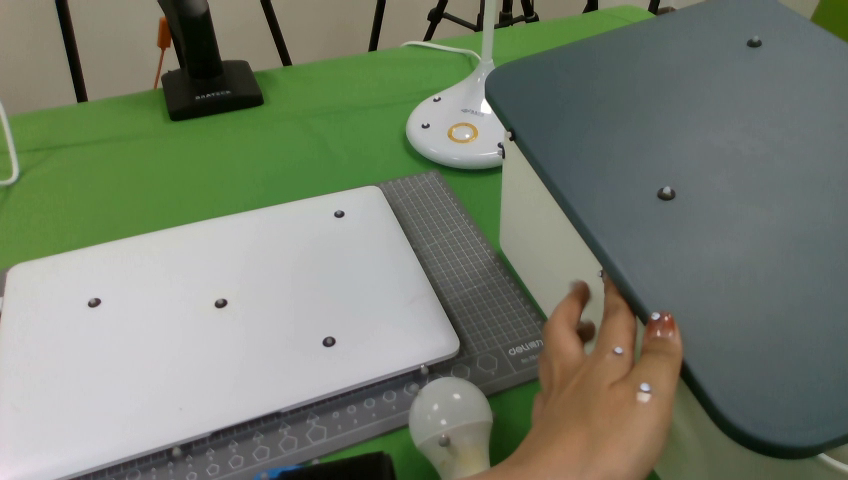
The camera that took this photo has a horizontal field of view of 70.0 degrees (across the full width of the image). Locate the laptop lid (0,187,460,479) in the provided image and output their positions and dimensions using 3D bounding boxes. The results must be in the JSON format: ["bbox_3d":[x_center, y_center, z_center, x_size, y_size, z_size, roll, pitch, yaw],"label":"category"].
[{"bbox_3d":[-0.172,0.059,0.522,0.357,0.013,0.239,-13,46,-15],"label":"laptop lid"}]

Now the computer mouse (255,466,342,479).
[{"bbox_3d":[-0.089,0.195,0.380,0.063,0.041,0.116,1,39,3],"label":"computer mouse"}]

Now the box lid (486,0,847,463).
[{"bbox_3d":[0.216,-0.057,0.402,0.263,0.015,0.367,-18,46,-5],"label":"box lid"}]

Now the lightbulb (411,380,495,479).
[{"bbox_3d":[0.027,0.150,0.422,0.059,0.060,0.106,-12,60,-13],"label":"lightbulb"}]

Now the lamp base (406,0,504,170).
[{"bbox_3d":[0.060,-0.202,0.709,0.160,0.182,0.178,9,41,9],"label":"lamp base"}]

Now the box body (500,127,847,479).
[{"bbox_3d":[0.241,0.028,0.474,0.255,0.162,0.359,-15,45,-16],"label":"box body"}]

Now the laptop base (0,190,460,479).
[{"bbox_3d":[-0.172,0.066,0.531,0.355,0.023,0.233,-14,48,-16],"label":"laptop base"}]
